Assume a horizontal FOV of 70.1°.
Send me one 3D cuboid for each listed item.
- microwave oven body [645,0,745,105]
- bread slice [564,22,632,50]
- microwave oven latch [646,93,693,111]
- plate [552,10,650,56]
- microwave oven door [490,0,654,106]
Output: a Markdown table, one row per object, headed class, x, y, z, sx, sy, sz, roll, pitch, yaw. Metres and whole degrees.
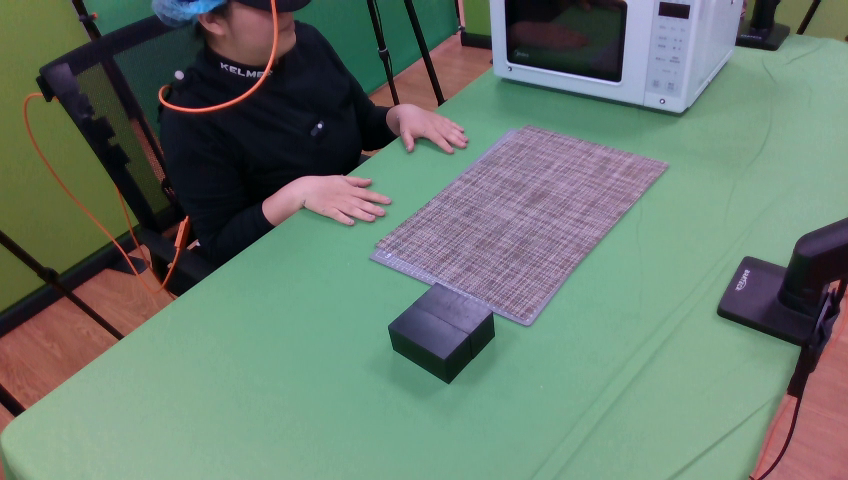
| class | x | y | z | sx | sy | sz | roll | pitch | yaw |
| --- | --- | --- | --- | --- | --- | --- | --- | --- | --- |
| microwave oven body | 0.416 | -0.486 | 1.290 | 0.438 | 0.261 | 0.327 | 21 | 50 | 33 |
| bread slice | 0.394 | -0.454 | 1.344 | 0.105 | 0.019 | 0.130 | -36 | 43 | -26 |
| microwave oven latch | 0.477 | -0.273 | 1.177 | 0.078 | 0.029 | 0.030 | 22 | 50 | 33 |
| plate | 0.390 | -0.455 | 1.339 | 0.209 | 0.038 | 0.208 | -5 | 39 | 5 |
| microwave oven door | 0.292 | -0.420 | 1.228 | 0.353 | 0.245 | 0.039 | 22 | 49 | 32 |
